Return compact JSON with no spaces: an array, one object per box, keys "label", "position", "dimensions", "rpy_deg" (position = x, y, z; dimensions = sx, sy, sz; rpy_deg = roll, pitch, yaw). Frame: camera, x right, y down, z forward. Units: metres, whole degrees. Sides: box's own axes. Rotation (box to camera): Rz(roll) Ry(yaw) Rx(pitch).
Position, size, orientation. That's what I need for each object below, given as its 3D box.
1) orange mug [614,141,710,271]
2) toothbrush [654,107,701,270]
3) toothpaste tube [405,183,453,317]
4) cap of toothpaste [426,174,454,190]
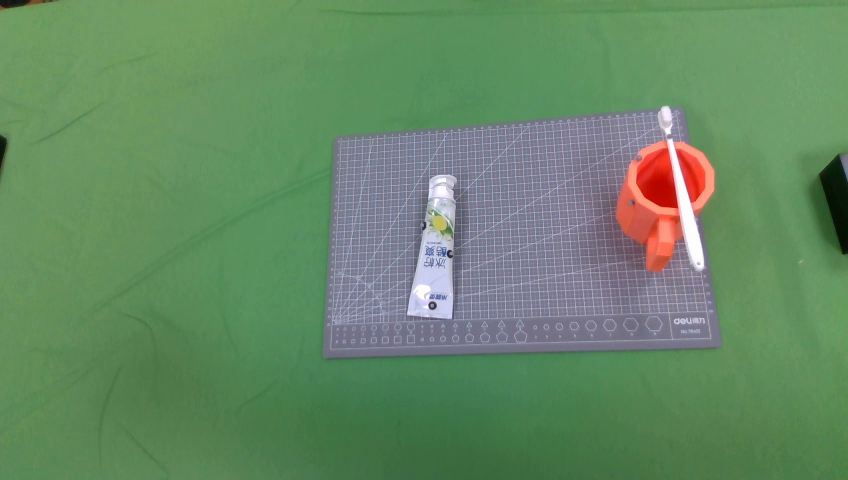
[{"label":"orange mug","position":[0.258,-0.033,0.666],"dimensions":[0.083,0.101,0.125],"rpy_deg":[5,67,11]},{"label":"toothbrush","position":[0.259,-0.057,0.618],"dimensions":[0.014,0.017,0.180],"rpy_deg":[-6,70,4]},{"label":"toothpaste tube","position":[0.011,0.010,0.731],"dimensions":[0.055,0.035,0.164],"rpy_deg":[1,75,15]},{"label":"cap of toothpaste","position":[0.020,-0.069,0.750],"dimensions":[0.037,0.037,0.011],"rpy_deg":[-9,67,6]}]
